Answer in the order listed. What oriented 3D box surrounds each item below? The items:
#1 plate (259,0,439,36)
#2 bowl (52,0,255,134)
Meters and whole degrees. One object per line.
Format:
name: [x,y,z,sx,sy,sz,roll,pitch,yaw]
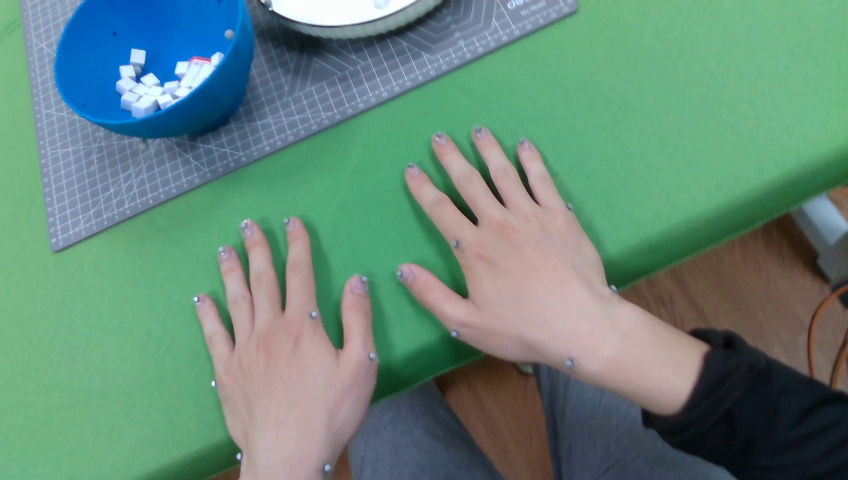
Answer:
plate: [-0.048,-0.251,0.497,0.209,0.038,0.207,-4,70,11]
bowl: [-0.189,-0.138,0.464,0.151,0.077,0.150,-4,69,11]
